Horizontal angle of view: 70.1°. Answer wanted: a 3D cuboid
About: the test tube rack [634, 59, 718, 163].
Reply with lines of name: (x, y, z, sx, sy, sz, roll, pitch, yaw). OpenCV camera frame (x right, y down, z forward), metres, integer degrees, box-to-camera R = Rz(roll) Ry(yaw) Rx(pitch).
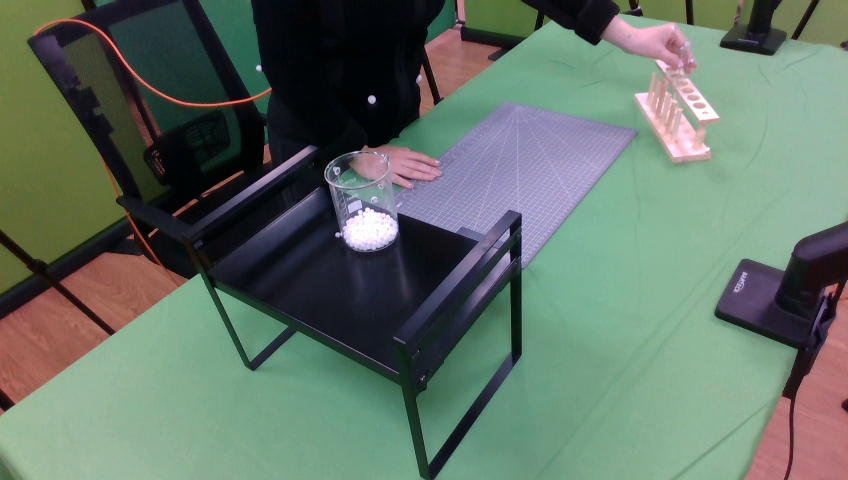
test tube rack: (0.470, -0.250, 1.148, 0.067, 0.085, 0.241, -6, 40, 3)

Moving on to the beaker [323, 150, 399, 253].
beaker: (-0.067, -0.043, 0.699, 0.073, 0.101, 0.084, 28, 51, 35)

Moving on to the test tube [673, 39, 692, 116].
test tube: (0.478, -0.299, 1.124, 0.017, 0.151, 0.017, -4, 41, 4)
